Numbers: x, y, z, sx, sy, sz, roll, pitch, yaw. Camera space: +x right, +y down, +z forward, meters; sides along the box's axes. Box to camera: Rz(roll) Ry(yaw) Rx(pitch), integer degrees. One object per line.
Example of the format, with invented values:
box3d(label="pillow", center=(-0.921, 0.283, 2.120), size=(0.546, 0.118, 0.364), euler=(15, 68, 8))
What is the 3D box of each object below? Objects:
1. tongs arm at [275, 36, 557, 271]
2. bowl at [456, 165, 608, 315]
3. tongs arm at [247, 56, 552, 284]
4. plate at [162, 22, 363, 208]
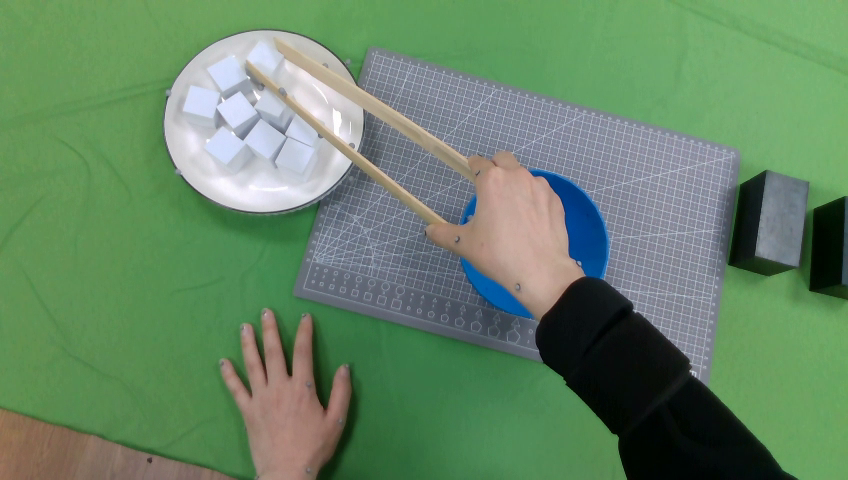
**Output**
box3d(label="tongs arm", center=(-0.023, -0.098, 0.563), size=(0.028, 0.028, 0.384), euler=(-40, 62, -21))
box3d(label="bowl", center=(0.102, 0.007, 0.622), size=(0.151, 0.077, 0.150), euler=(1, 78, -5))
box3d(label="tongs arm", center=(-0.041, -0.082, 0.556), size=(0.051, 0.027, 0.381), euler=(-38, 62, -16))
box3d(label="plate", center=(-0.168, -0.131, 0.649), size=(0.208, 0.039, 0.206), euler=(1, 78, -4))
